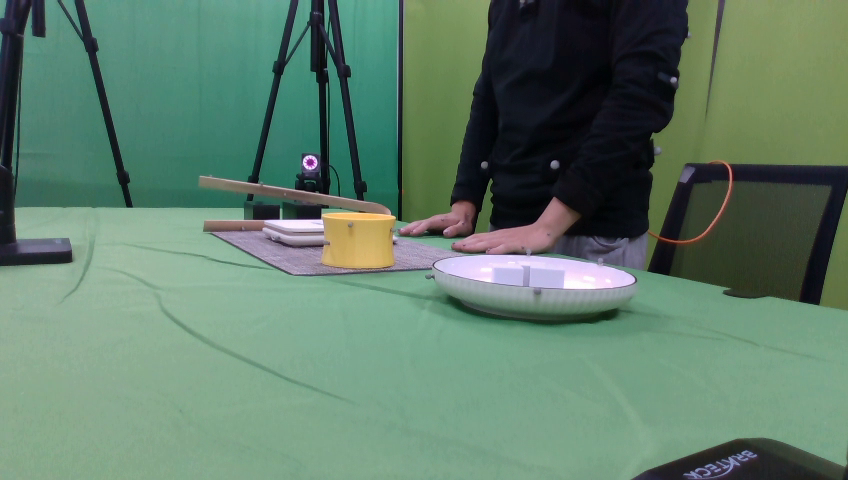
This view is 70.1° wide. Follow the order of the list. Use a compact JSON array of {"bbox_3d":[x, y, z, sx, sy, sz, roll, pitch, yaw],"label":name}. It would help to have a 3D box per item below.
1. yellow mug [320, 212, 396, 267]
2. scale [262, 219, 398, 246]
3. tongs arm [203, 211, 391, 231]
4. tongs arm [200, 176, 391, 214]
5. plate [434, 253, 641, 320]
[{"bbox_3d":[-0.089,-0.004,0.825,0.100,0.064,0.131,2,6,-2],"label":"yellow mug"},{"bbox_3d":[-0.160,-0.016,1.028,0.202,0.031,0.148,-2,8,-32],"label":"scale"},{"bbox_3d":[-0.231,-0.035,1.185,0.390,0.028,0.028,-3,33,-33],"label":"tongs arm"},{"bbox_3d":[-0.258,-0.084,1.245,0.387,0.026,0.050,6,32,-22],"label":"tongs arm"},{"bbox_3d":[0.114,0.047,0.625,0.208,0.039,0.207,2,7,0],"label":"plate"}]
